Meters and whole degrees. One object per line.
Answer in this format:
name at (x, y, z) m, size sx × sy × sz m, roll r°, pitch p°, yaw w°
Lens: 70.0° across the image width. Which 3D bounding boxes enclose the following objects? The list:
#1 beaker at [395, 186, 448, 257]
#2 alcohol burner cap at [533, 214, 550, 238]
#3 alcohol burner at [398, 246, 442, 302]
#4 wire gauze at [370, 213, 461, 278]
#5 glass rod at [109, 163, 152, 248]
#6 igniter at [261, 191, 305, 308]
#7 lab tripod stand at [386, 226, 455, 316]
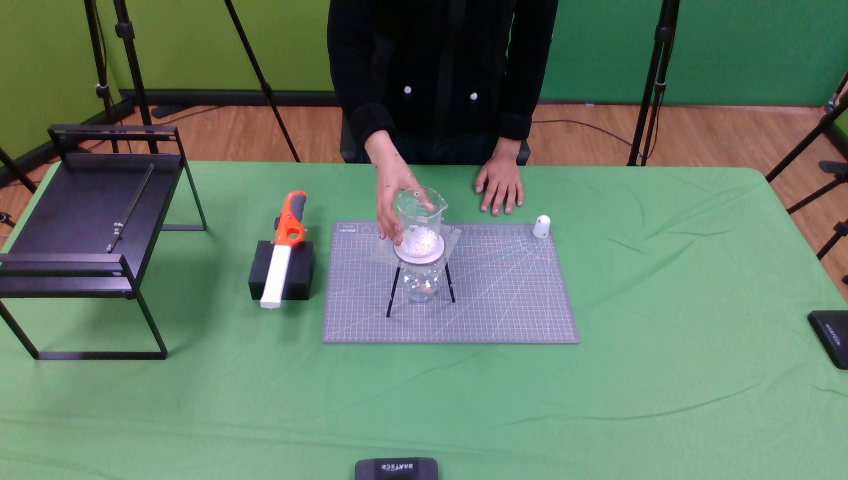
beaker at (-0.007, -0.027, 0.984) m, size 0.084 × 0.101 × 0.073 m, roll 1°, pitch 48°, yaw -4°
alcohol burner cap at (0.241, -0.030, 1.228) m, size 0.034 × 0.048 × 0.033 m, roll 1°, pitch 46°, yaw -1°
alcohol burner at (-0.006, 0.055, 1.078) m, size 0.078 × 0.119 × 0.077 m, roll 3°, pitch 44°, yaw -3°
wire gauze at (-0.012, 0.009, 1.020) m, size 0.121 × 0.011 × 0.124 m, roll 14°, pitch 50°, yaw 15°
glass rod at (-0.472, -0.061, 0.979) m, size 0.008 × 0.008 × 0.198 m, roll 2°, pitch 46°, yaw -2°
igniter at (-0.255, 0.007, 1.103) m, size 0.057 × 0.025 × 0.275 m, roll 5°, pitch 47°, yaw -4°
lab tripod stand at (-0.013, 0.054, 1.064) m, size 0.148 × 0.132 × 0.147 m, roll 2°, pitch 48°, yaw -2°
